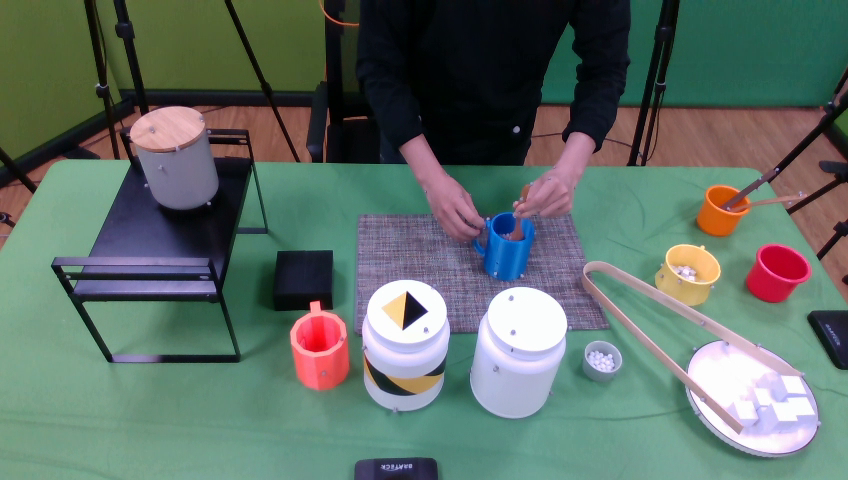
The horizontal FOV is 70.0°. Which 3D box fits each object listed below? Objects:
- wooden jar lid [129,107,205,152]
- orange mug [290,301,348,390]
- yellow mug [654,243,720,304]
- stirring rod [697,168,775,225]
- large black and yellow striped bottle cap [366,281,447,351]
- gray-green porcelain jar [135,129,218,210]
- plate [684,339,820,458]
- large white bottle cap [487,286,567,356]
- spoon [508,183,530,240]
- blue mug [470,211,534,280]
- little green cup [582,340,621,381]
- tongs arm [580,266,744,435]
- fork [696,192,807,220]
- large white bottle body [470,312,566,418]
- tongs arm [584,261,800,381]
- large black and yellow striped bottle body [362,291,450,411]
[{"bbox_3d":[-0.385,-0.163,0.915,0.108,0.021,0.107,2,47,-2],"label":"wooden jar lid"},{"bbox_3d":[-0.170,0.162,0.976,0.083,0.101,0.125,-7,52,-11],"label":"orange mug"},{"bbox_3d":[0.504,0.054,1.154,0.099,0.064,0.130,28,50,22],"label":"yellow mug"},{"bbox_3d":[0.644,-0.090,1.252,0.176,0.006,0.014,-40,53,16],"label":"stirring rod"},{"bbox_3d":[-0.025,0.106,0.866,0.115,0.019,0.114,2,46,-1],"label":"large black and yellow striped bottle cap"},{"bbox_3d":[-0.388,-0.120,0.960,0.106,0.127,0.105,2,46,-2],"label":"gray-green porcelain jar"},{"bbox_3d":[0.523,0.256,0.982,0.208,0.039,0.206,2,46,-2],"label":"plate"},{"bbox_3d":[0.147,0.114,0.869,0.115,0.018,0.114,3,46,-3],"label":"large white bottle cap"},{"bbox_3d":[0.169,-0.038,1.082,0.041,0.195,0.021,-12,53,-8],"label":"spoon"},{"bbox_3d":[0.141,0.005,1.140,0.116,0.106,0.082,19,48,14],"label":"blue mug"},{"bbox_3d":[0.295,0.204,1.014,0.061,0.039,0.061,2,45,-2],"label":"little green cup"},{"bbox_3d":[0.384,0.173,1.028,0.028,0.028,0.385,-25,46,-15],"label":"tongs arm"},{"bbox_3d":[0.655,-0.069,1.224,0.207,0.019,0.028,-17,33,45],"label":"fork"},{"bbox_3d":[0.143,0.173,0.930,0.131,0.185,0.130,2,46,-2],"label":"large white bottle body"},{"bbox_3d":[0.452,0.137,1.064,0.051,0.027,0.382,-34,50,-27],"label":"tongs arm"},{"bbox_3d":[-0.029,0.163,0.928,0.131,0.185,0.130,2,47,-2],"label":"large black and yellow striped bottle body"}]
